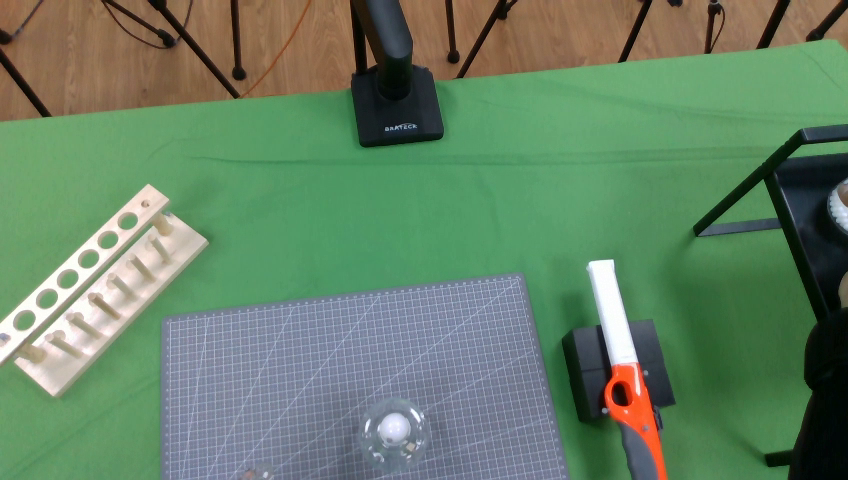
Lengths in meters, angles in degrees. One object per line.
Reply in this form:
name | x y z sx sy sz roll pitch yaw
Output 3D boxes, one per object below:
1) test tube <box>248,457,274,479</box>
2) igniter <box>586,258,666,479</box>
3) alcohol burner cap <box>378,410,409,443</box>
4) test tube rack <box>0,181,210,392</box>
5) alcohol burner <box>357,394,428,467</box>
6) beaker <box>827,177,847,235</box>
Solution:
test tube | -0.150 0.222 0.526 0.017 0.151 0.017 13 48 -15
igniter | 0.227 0.151 0.687 0.057 0.025 0.274 -4 66 -3
alcohol burner cap | -0.031 0.188 0.614 0.034 0.048 0.033 1 71 -3
test tube rack | -0.368 0.052 0.699 0.066 0.086 0.242 35 70 11
alcohol burner | -0.033 0.201 0.647 0.078 0.120 0.077 2 65 -4
beaker | 0.459 -0.050 0.594 0.084 0.101 0.074 36 65 8
